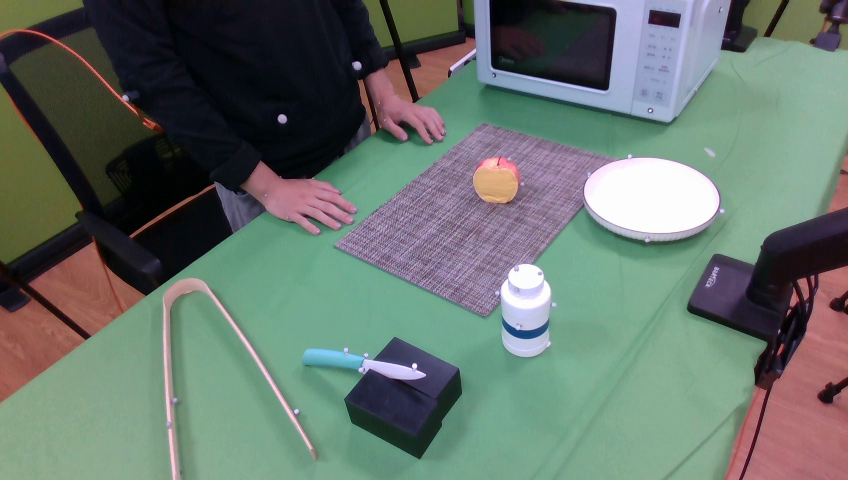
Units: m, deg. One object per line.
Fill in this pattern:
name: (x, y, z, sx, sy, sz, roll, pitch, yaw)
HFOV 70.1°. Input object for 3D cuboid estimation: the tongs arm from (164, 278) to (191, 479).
tongs arm: (-0.313, 0.182, 0.789, 0.051, 0.026, 0.381, -19, 41, -14)

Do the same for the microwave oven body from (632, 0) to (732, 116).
microwave oven body: (0.377, -0.462, 1.267, 0.438, 0.261, 0.327, 21, 48, 30)

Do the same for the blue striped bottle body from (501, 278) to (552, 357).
blue striped bottle body: (0.130, 0.088, 0.769, 0.063, 0.121, 0.063, -4, 41, 4)

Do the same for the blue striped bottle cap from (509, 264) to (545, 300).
blue striped bottle cap: (0.125, 0.050, 0.735, 0.044, 0.021, 0.044, -6, 39, 5)

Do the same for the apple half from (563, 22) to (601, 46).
apple half: (0.335, -0.448, 1.299, 0.081, 0.033, 0.081, -16, 34, 11)

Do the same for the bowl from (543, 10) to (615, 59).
bowl: (0.336, -0.439, 1.306, 0.151, 0.077, 0.151, -8, 30, 5)

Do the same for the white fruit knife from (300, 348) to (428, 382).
white fruit knife: (-0.079, 0.154, 0.748, 0.206, 0.027, 0.016, 1, 20, 34)

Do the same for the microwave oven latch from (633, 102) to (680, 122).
microwave oven latch: (0.444, -0.249, 1.157, 0.078, 0.029, 0.030, 21, 48, 30)

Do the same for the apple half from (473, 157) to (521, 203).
apple half: (0.128, -0.107, 1.030, 0.080, 0.075, 0.053, 4, 38, 19)

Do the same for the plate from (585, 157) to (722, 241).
plate: (0.367, -0.063, 0.979, 0.207, 0.039, 0.206, -4, 41, 4)

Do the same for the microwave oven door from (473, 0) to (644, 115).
microwave oven door: (0.257, -0.396, 1.199, 0.353, 0.245, 0.039, 21, 48, 29)

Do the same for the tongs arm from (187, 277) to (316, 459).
tongs arm: (-0.241, 0.154, 0.815, 0.028, 0.028, 0.384, -31, 46, -21)
